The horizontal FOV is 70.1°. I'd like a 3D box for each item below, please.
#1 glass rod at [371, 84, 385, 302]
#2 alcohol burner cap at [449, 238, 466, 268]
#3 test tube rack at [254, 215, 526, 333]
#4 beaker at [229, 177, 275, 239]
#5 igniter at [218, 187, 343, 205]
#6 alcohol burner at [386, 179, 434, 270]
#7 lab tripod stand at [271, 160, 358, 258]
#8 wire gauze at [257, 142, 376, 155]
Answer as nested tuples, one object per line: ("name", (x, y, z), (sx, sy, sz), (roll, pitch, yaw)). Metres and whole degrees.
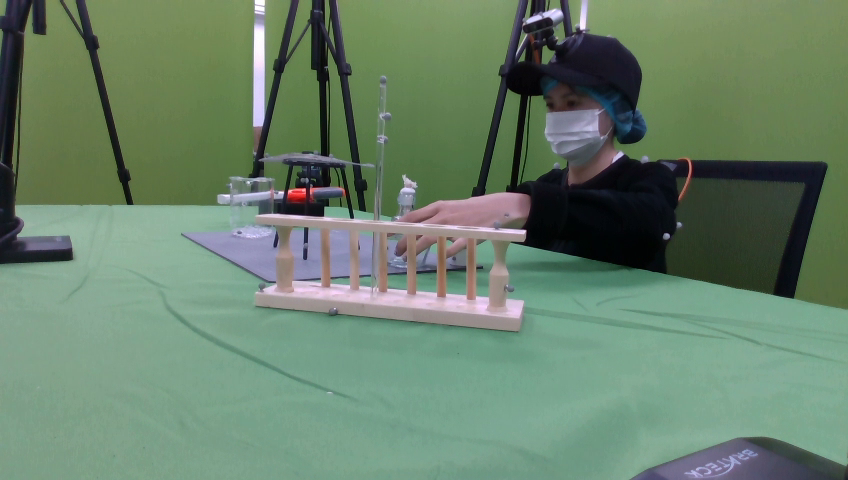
("glass rod", (-0.041, -0.040, 0.548), (0.008, 0.199, 0.008), (2, 2, 0))
("alcohol burner cap", (0.051, 0.015, 0.827), (0.034, 0.048, 0.034), (3, 4, 0))
("test tube rack", (-0.030, 0.025, 0.558), (0.242, 0.085, 0.067), (4, 7, 12))
("beaker", (-0.292, -0.056, 1.023), (0.074, 0.100, 0.083), (-1, 8, -26))
("igniter", (-0.287, -0.093, 1.257), (0.278, 0.025, 0.057), (-8, 13, -41))
("alcohol burner", (-0.025, -0.022, 0.800), (0.078, 0.119, 0.078), (2, 6, 0))
("lab tripod stand", (-0.160, -0.048, 0.876), (0.148, 0.131, 0.148), (3, 5, 0))
("wire gauze", (-0.155, -0.130, 0.871), (0.124, 0.011, 0.122), (-1, 7, 36))
